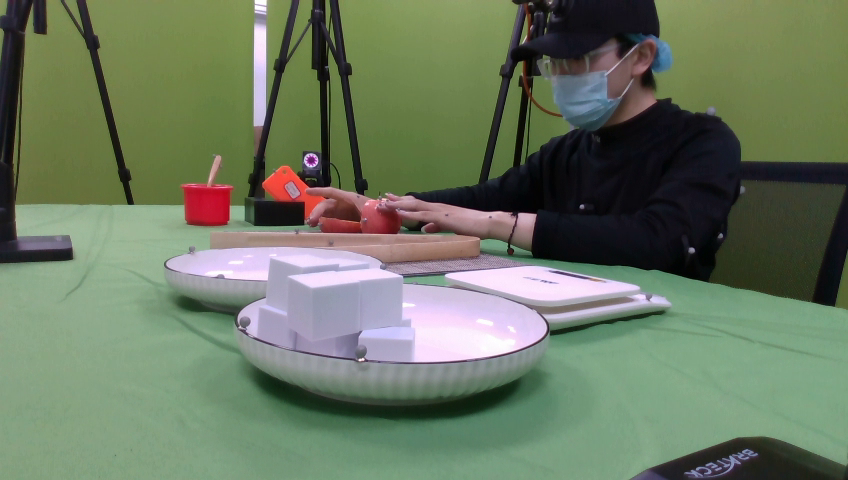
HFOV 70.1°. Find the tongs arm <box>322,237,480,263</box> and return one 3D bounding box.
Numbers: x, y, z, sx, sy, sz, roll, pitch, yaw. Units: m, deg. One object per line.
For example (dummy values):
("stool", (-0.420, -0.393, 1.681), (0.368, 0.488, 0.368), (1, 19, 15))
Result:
("tongs arm", (-0.070, 0.017, 0.801), (0.390, 0.028, 0.028), (-2, 5, -34))

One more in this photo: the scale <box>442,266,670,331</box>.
("scale", (0.131, 0.052, 0.602), (0.202, 0.031, 0.148), (-2, 9, -37))

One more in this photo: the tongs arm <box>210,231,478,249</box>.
("tongs arm", (-0.106, 0.004, 0.876), (0.386, 0.026, 0.050), (0, 7, -20))

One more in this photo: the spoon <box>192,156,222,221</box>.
("spoon", (-0.430, -0.107, 1.222), (0.041, 0.021, 0.193), (-1, 52, 1))

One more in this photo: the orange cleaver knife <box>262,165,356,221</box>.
("orange cleaver knife", (-0.243, -0.081, 1.292), (0.212, 0.077, 0.012), (34, -8, -26))

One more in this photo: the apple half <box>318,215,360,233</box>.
("apple half", (-0.147, -0.018, 1.036), (0.081, 0.033, 0.081), (10, -6, 1))

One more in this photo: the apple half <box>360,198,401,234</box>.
("apple half", (-0.066, -0.032, 1.014), (0.053, 0.074, 0.081), (9, 6, 21))

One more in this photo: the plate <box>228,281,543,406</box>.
("plate", (-0.025, 0.067, 0.413), (0.208, 0.039, 0.207), (3, 7, 0))

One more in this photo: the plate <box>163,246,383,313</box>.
("plate", (-0.145, 0.038, 0.600), (0.209, 0.038, 0.209), (2, 7, 0))
